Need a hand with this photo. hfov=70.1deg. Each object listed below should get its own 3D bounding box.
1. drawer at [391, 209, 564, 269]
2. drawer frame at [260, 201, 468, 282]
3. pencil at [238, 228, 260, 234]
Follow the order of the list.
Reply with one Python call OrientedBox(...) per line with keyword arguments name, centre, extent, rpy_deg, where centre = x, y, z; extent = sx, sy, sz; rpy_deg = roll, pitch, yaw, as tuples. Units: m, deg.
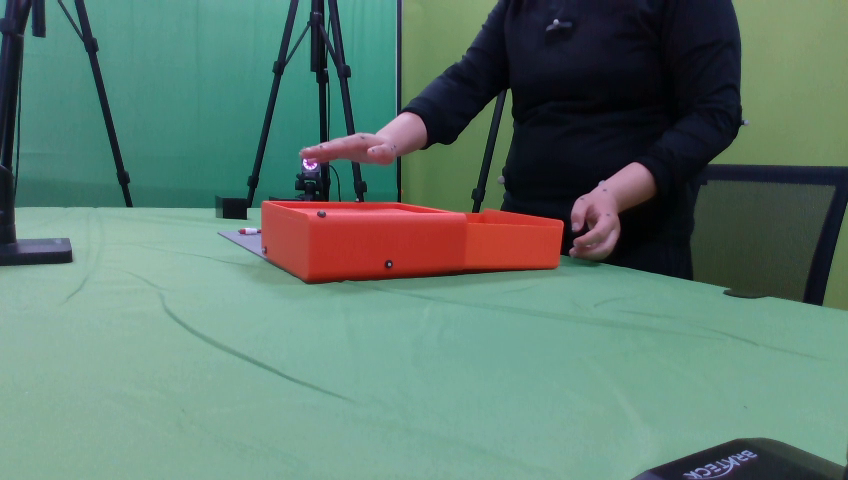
OrientedBox(name="drawer", centre=(0.059, -0.007, 0.879), extent=(0.213, 0.073, 0.193), rpy_deg=(1, 8, -31))
OrientedBox(name="drawer frame", centre=(-0.084, -0.006, 0.794), extent=(0.215, 0.082, 0.200), rpy_deg=(-2, 9, -30))
OrientedBox(name="pencil", centre=(-0.241, -0.015, 1.105), extent=(0.195, 0.012, 0.012), rpy_deg=(1, 7, -30))
